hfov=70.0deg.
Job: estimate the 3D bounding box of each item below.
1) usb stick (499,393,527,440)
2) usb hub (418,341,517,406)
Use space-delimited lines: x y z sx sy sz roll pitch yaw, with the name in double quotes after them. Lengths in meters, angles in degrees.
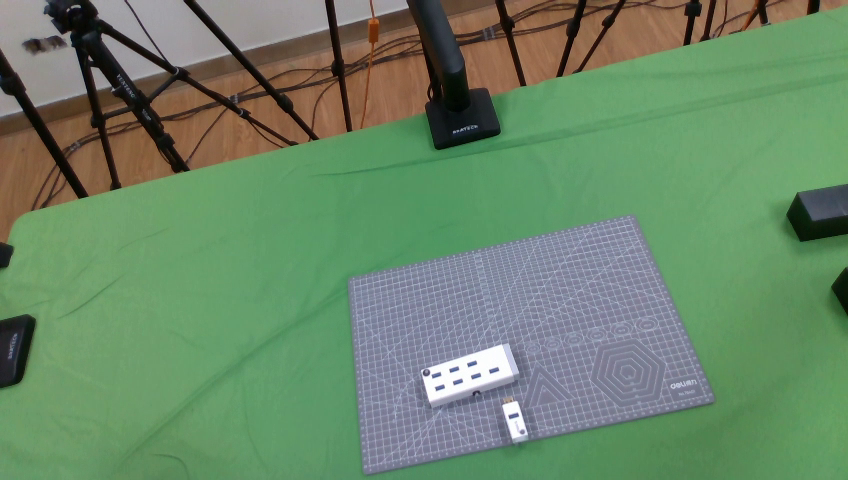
0.111 0.221 0.768 0.021 0.027 0.058 -19 52 4 "usb stick"
0.057 0.177 0.809 0.125 0.025 0.049 -18 55 -1 "usb hub"
